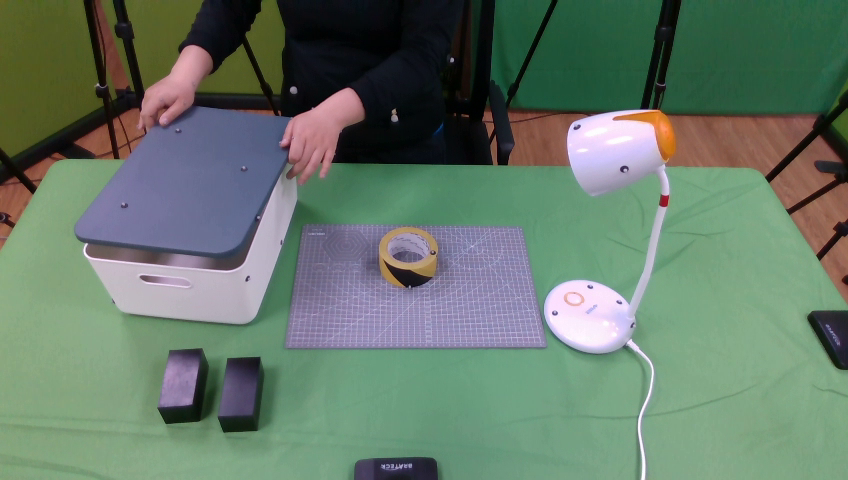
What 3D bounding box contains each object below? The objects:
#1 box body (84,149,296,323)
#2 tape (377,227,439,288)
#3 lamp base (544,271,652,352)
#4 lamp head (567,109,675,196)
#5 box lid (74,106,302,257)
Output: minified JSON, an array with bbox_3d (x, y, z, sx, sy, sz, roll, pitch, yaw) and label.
[{"bbox_3d":[-0.393,-0.035,1.104,0.254,0.161,0.362,5,46,1],"label":"box body"},{"bbox_3d":[-0.031,0.032,1.140,0.117,0.053,0.116,2,46,-1],"label":"tape"},{"bbox_3d":[0.310,0.086,1.029,0.178,0.181,0.160,32,52,21],"label":"lamp base"},{"bbox_3d":[0.272,-0.123,0.818,0.122,0.113,0.112,-9,35,37],"label":"lamp head"},{"bbox_3d":[-0.376,-0.112,1.014,0.263,0.015,0.369,6,45,5],"label":"box lid"}]
